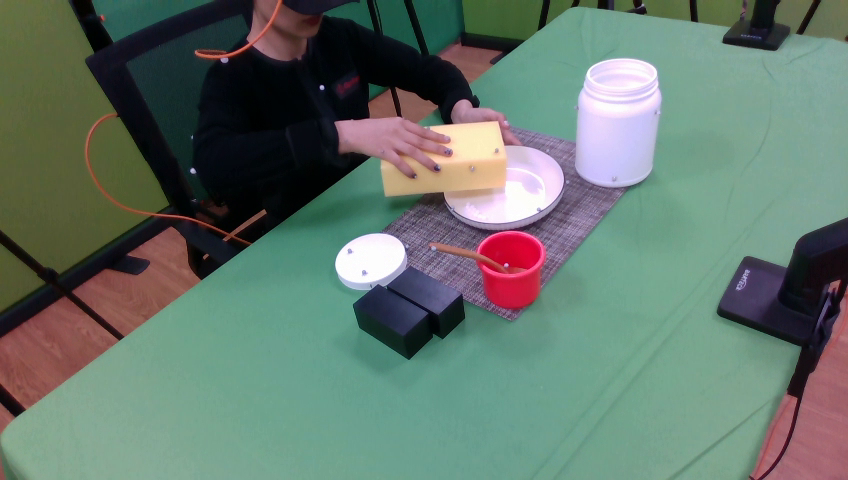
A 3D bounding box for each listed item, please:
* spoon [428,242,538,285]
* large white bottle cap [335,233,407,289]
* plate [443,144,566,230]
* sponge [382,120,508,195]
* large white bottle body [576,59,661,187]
[{"bbox_3d":[0.085,0.030,0.832,0.195,0.021,0.041,22,26,-34],"label":"spoon"},{"bbox_3d":[-0.084,0.032,0.961,0.115,0.018,0.114,-6,42,6],"label":"large white bottle cap"},{"bbox_3d":[0.136,-0.088,1.032,0.209,0.038,0.208,-7,45,7],"label":"plate"},{"bbox_3d":[0.034,-0.141,1.030,0.207,0.061,0.117,-5,42,-1],"label":"sponge"},{"bbox_3d":[0.326,-0.197,1.021,0.130,0.185,0.130,-5,40,5],"label":"large white bottle body"}]
